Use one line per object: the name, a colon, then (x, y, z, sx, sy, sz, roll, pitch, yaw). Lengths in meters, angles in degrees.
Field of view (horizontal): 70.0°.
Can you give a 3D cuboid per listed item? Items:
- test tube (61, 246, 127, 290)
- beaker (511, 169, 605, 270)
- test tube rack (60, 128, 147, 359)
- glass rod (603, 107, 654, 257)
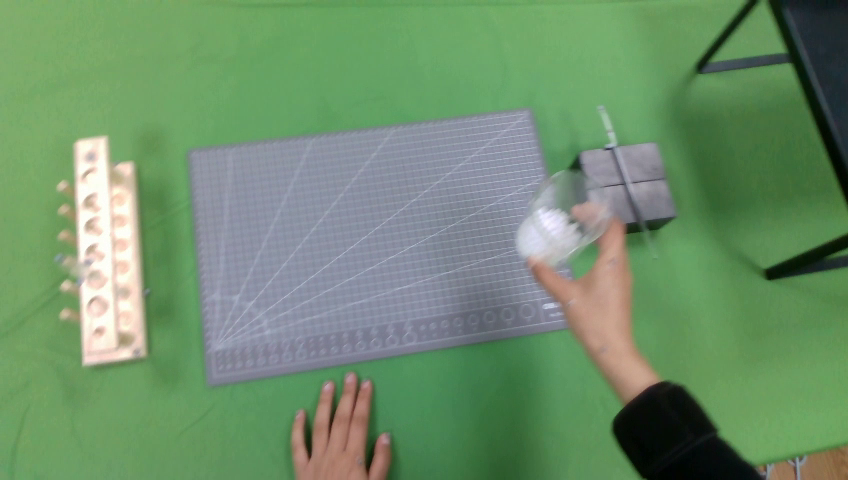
test tube: (-0.337, 0.032, 0.625, 0.017, 0.150, 0.017, 2, 75, -9)
beaker: (0.128, -0.012, 0.605, 0.074, 0.101, 0.083, 9, 72, 0)
test tube rack: (-0.367, 0.005, 0.682, 0.067, 0.085, 0.241, -8, 75, -6)
glass rod: (0.248, -0.074, 0.739, 0.008, 0.008, 0.198, -11, 76, -7)
